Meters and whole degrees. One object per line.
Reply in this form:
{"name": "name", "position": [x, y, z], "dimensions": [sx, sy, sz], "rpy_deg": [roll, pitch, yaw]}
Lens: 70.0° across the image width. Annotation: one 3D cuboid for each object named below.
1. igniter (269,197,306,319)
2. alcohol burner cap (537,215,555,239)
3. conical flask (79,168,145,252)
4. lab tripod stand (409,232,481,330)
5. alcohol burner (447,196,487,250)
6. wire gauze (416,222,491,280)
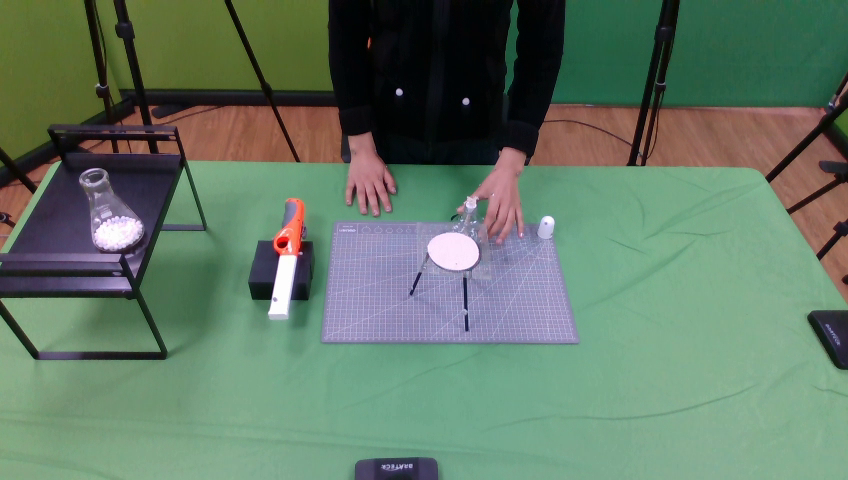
{"name": "igniter", "position": [-0.246, 0.023, 1.087], "dimensions": [0.057, 0.025, 0.274], "rpy_deg": [-1, 49, -2]}
{"name": "alcohol burner cap", "position": [0.249, -0.029, 1.228], "dimensions": [0.034, 0.048, 0.033], "rpy_deg": [1, 47, -1]}
{"name": "conical flask", "position": [-0.463, -0.048, 0.888], "dimensions": [0.075, 0.122, 0.075], "rpy_deg": [2, 46, -2]}
{"name": "lab tripod stand", "position": [0.051, 0.064, 1.059], "dimensions": [0.148, 0.132, 0.147], "rpy_deg": [3, 47, -3]}
{"name": "alcohol burner", "position": [0.085, -0.039, 1.175], "dimensions": [0.078, 0.119, 0.077], "rpy_deg": [4, 45, -3]}
{"name": "wire gauze", "position": [0.047, 0.014, 1.013], "dimensions": [0.125, 0.011, 0.120], "rpy_deg": [3, 47, -3]}
